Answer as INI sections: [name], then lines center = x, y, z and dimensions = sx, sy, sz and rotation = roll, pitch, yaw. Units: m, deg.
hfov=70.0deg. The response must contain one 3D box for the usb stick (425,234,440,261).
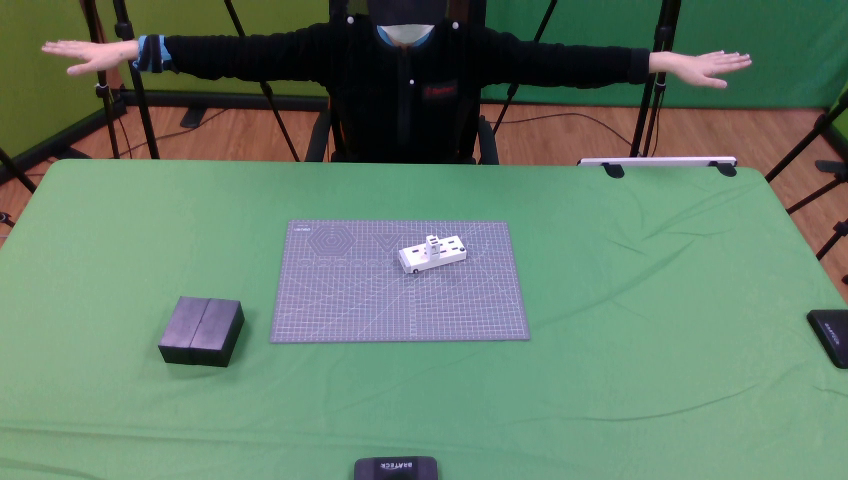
[usb stick]
center = 0.016, 0.019, 1.133
dimensions = 0.021, 0.059, 0.027
rotation = -16, 52, -15

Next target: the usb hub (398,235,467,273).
[usb hub]
center = 0.016, 0.027, 1.166
dimensions = 0.125, 0.025, 0.049
rotation = -14, 50, -17
